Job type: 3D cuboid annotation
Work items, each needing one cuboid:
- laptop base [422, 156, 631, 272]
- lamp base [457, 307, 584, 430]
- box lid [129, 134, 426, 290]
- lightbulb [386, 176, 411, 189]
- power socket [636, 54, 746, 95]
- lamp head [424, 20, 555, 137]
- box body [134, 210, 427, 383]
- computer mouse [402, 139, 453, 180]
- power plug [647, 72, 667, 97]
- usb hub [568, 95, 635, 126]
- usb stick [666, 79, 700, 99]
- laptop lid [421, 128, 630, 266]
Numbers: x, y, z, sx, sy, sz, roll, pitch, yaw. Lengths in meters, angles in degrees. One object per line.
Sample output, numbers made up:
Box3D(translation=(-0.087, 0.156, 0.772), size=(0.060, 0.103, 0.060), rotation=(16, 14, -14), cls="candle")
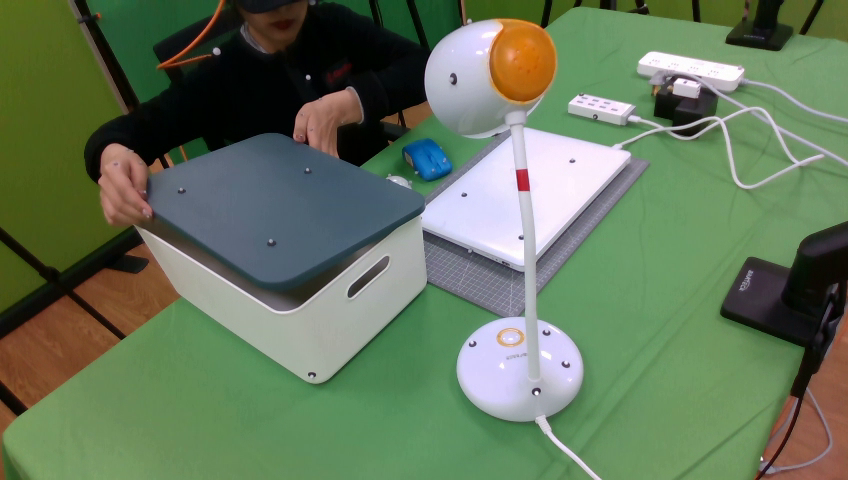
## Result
Box3D(translation=(0.176, -0.084, 1.055), size=(0.233, 0.023, 0.355), rotation=(21, 48, 36), cls="laptop base")
Box3D(translation=(0.115, 0.108, 0.713), size=(0.161, 0.181, 0.178), rotation=(-17, 43, -8), cls="lamp base")
Box3D(translation=(-0.206, -0.058, 0.834), size=(0.368, 0.015, 0.264), rotation=(25, 42, 35), cls="box lid")
Box3D(translation=(-0.066, -0.086, 1.083), size=(0.060, 0.060, 0.107), rotation=(-38, 31, -30), cls="lightbulb")
Box3D(translation=(0.564, -0.357, 1.293), size=(0.225, 0.033, 0.072), rotation=(24, 51, 33), cls="power socket")
Box3D(translation=(0.069, -0.153, 0.572), size=(0.113, 0.112, 0.122), rotation=(-21, 16, -14), cls="lamp head")
Box3D(translation=(-0.201, 0.018, 0.896), size=(0.361, 0.161, 0.255), rotation=(23, 50, 33), cls="box body")
Box3D(translation=(0.005, -0.159, 1.165), size=(0.063, 0.041, 0.116), rotation=(-21, 45, -17), cls="computer mouse")
Box3D(translation=(0.493, -0.321, 1.261), size=(0.073, 0.052, 0.035), rotation=(1, 20, -41), cls="power plug")
Box3D(translation=(0.360, -0.264, 1.228), size=(0.124, 0.025, 0.049), rotation=(24, 49, 34), cls="usb hub")
Box3D(translation=(0.492, -0.288, 1.152), size=(0.058, 0.027, 0.021), rotation=(20, 50, 34), cls="usb stick")
Box3D(translation=(0.172, -0.093, 1.049), size=(0.239, 0.013, 0.358), rotation=(24, 50, 36), cls="laptop lid")
